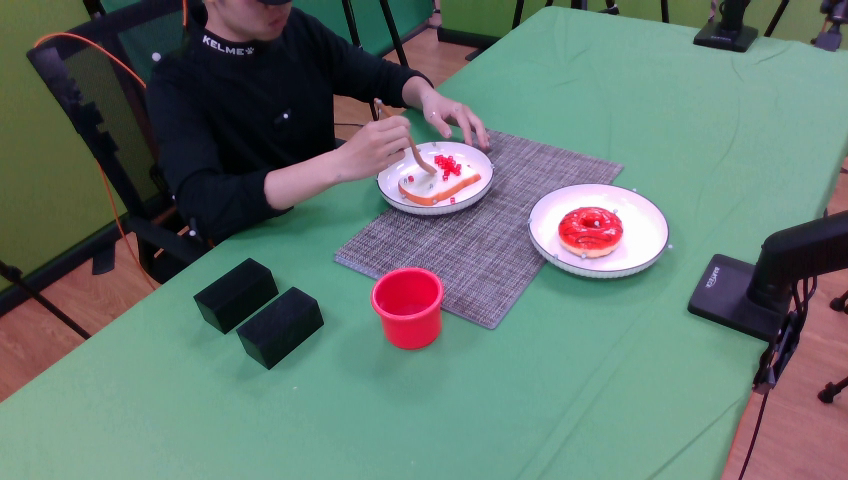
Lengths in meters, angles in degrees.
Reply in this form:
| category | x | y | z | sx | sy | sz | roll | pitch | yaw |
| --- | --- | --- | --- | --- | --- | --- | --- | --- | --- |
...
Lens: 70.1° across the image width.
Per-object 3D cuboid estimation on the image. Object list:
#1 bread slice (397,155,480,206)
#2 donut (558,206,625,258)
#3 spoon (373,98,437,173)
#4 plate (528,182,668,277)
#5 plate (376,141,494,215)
| category | x | y | z | sx | sy | sz | roll | pitch | yaw |
| --- | --- | --- | --- | --- | --- | --- | --- | --- | --- |
| bread slice | 0.020 | -0.106 | 1.077 | 0.132 | 0.019 | 0.104 | -31 | 46 | -29 |
| donut | 0.254 | -0.015 | 0.917 | 0.099 | 0.048 | 0.098 | -5 | 41 | 5 |
| spoon | -0.030 | -0.171 | 1.003 | 0.021 | 0.195 | 0.041 | -39 | 46 | 1 |
| plate | 0.264 | -0.014 | 0.933 | 0.207 | 0.039 | 0.206 | -3 | 42 | 3 |
| plate | 0.021 | -0.106 | 1.072 | 0.209 | 0.038 | 0.208 | -4 | 40 | 4 |
